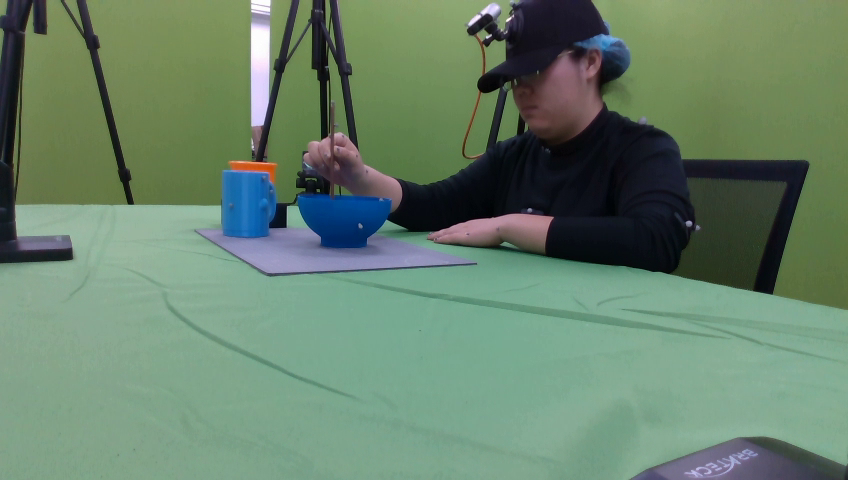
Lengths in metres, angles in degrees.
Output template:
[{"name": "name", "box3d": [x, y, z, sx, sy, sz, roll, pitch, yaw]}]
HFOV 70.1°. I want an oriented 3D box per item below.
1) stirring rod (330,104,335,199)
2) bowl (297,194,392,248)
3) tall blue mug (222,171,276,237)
[{"name": "stirring rod", "box3d": [-0.146, -0.128, 0.961, 0.006, 0.176, 0.014, 1, 2, -4]}, {"name": "bowl", "box3d": [-0.127, -0.030, 0.963, 0.151, 0.077, 0.151, 2, 7, 0]}, {"name": "tall blue mug", "box3d": [-0.303, -0.064, 1.043, 0.078, 0.108, 0.107, 1, 7, -4]}]
